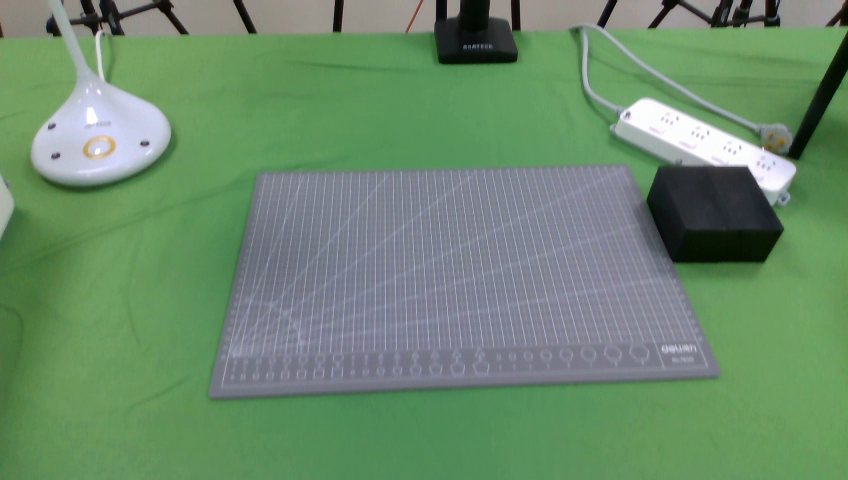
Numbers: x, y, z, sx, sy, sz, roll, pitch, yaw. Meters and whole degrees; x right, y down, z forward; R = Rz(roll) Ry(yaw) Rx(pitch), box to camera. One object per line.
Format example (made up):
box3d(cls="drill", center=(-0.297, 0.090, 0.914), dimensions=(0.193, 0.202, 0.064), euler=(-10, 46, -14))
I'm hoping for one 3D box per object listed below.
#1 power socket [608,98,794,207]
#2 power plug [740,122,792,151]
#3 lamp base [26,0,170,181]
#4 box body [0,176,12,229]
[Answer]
box3d(cls="power socket", center=(0.339, -0.113, 0.747), dimensions=(0.224, 0.033, 0.072), euler=(36, 54, 29))
box3d(cls="power plug", center=(0.433, -0.131, 0.778), dimensions=(0.053, 0.035, 0.072), euler=(-26, 18, -30))
box3d(cls="lamp base", center=(-0.401, -0.188, 0.693), dimensions=(0.161, 0.182, 0.177), euler=(-20, 47, -20))
box3d(cls="box body", center=(-0.544, 0.029, 0.492), dimensions=(0.254, 0.162, 0.360), euler=(-5, 46, -7))
